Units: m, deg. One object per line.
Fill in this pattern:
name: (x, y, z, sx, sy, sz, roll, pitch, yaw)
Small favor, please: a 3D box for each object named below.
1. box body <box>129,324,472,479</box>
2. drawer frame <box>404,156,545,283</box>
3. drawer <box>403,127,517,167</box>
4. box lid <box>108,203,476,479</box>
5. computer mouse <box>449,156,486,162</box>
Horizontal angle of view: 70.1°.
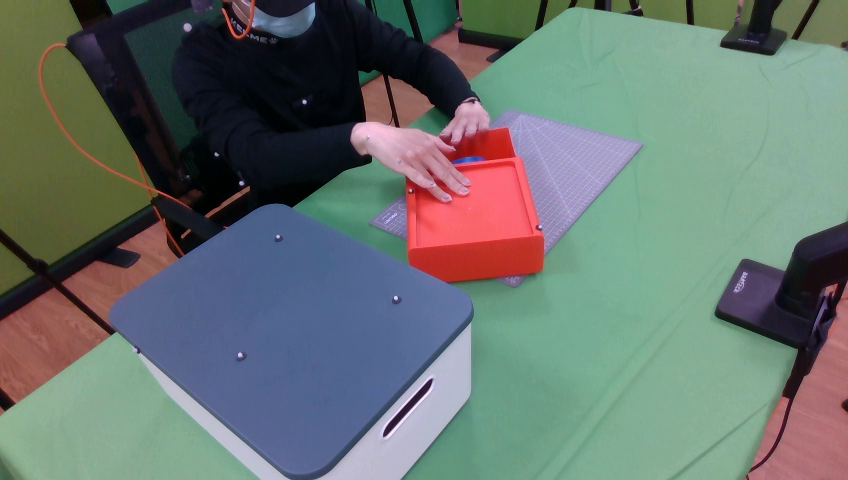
box body: (-0.147, 0.136, 0.726, 0.361, 0.161, 0.255, 25, 50, 32)
drawer frame: (0.073, -0.037, 0.955, 0.202, 0.083, 0.212, -6, 41, 1)
drawer: (0.068, -0.102, 1.036, 0.195, 0.073, 0.210, -6, 42, -1)
box lid: (-0.156, 0.079, 0.678, 0.368, 0.015, 0.264, 24, 49, 32)
computer mouse: (0.066, -0.117, 1.074, 0.117, 0.041, 0.062, -11, 42, 2)
